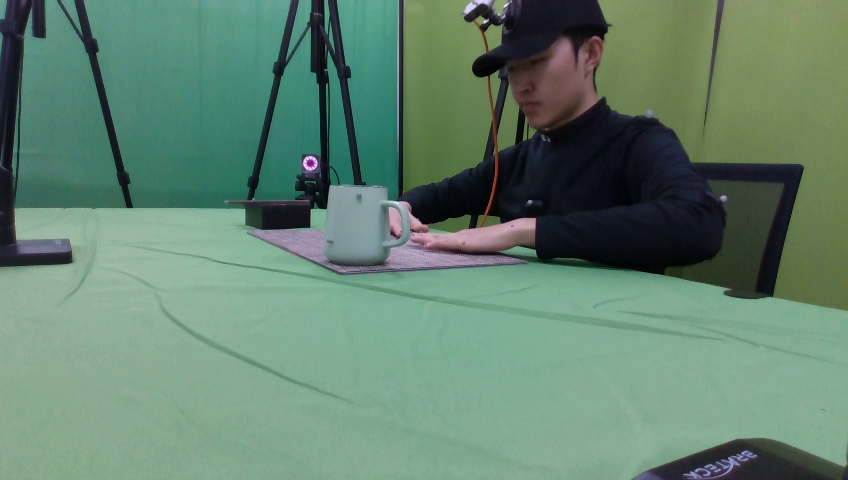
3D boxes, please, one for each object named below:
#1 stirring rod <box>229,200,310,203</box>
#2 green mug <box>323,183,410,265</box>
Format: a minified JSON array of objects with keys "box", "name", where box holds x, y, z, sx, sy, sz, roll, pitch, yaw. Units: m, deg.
[{"box":[-0.314,-0.079,1.240,0.177,0.006,0.014,-4,8,-40],"name":"stirring rod"},{"box":[-0.076,-0.022,0.817,0.125,0.105,0.093,5,7,26],"name":"green mug"}]
